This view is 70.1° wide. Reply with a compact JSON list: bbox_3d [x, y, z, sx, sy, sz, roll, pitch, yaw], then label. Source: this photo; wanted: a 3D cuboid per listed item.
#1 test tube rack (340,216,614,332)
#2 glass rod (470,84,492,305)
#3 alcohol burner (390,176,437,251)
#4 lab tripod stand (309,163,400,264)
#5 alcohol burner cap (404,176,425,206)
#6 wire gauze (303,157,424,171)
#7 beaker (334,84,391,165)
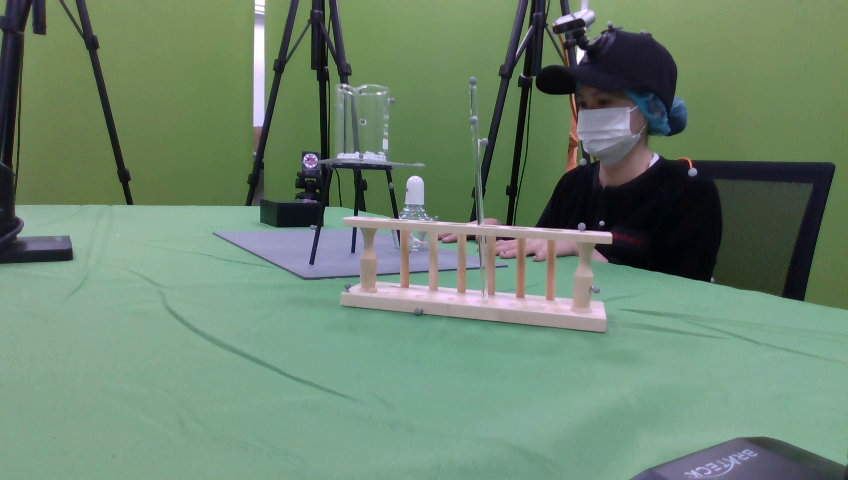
[{"bbox_3d":[0.048,0.026,0.568,0.242,0.085,0.067,4,8,13],"label":"test tube rack"},{"bbox_3d":[0.051,-0.036,0.535,0.008,0.199,0.008,-5,10,1],"label":"glass rod"},{"bbox_3d":[-0.016,-0.042,0.955,0.078,0.119,0.078,4,5,0],"label":"alcohol burner"},{"bbox_3d":[-0.091,-0.037,0.813,0.148,0.131,0.148,1,6,0],"label":"lab tripod stand"},{"bbox_3d":[-0.015,-0.077,0.951,0.034,0.048,0.034,2,4,0],"label":"alcohol burner cap"},{"bbox_3d":[-0.082,-0.101,0.799,0.126,0.011,0.121,1,7,-30],"label":"wire gauze"},{"bbox_3d":[-0.082,-0.149,0.792,0.074,0.100,0.084,2,5,5],"label":"beaker"}]
